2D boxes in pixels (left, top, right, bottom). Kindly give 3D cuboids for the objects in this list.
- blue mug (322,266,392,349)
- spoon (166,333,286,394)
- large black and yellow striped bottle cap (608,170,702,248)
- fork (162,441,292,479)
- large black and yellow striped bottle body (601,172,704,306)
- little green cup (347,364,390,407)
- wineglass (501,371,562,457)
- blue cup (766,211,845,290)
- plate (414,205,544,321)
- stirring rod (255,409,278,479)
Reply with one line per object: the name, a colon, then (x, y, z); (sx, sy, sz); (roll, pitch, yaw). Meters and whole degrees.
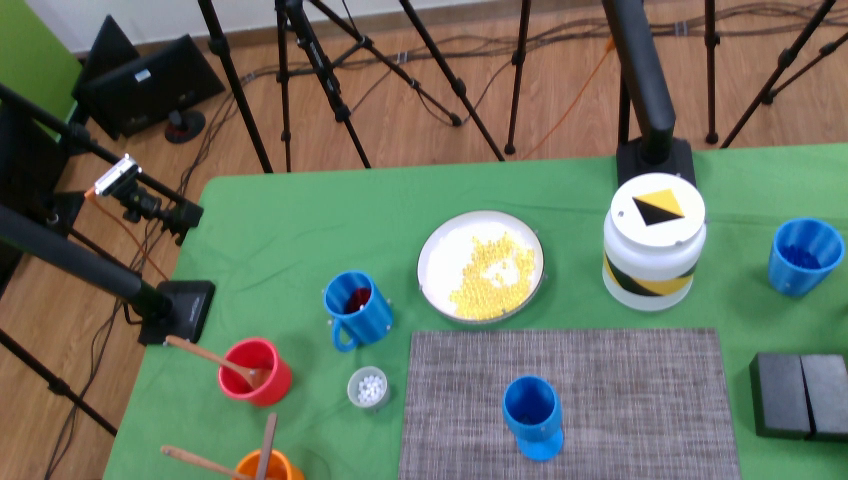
blue mug: (-0.111, 0.115, 0.950); (0.082, 0.107, 0.116); (16, 65, 23)
spoon: (-0.303, 0.186, 0.935); (0.195, 0.021, 0.041); (31, 66, -19)
large black and yellow striped bottle cap: (0.300, -0.042, 0.789); (0.115, 0.019, 0.114); (-6, 58, 10)
fork: (-0.263, 0.320, 0.841); (0.209, 0.018, 0.028); (29, 71, -20)
large black and yellow striped bottle body: (0.320, 0.000, 0.859); (0.130, 0.186, 0.129); (-7, 58, 11)
little green cup: (-0.082, 0.223, 0.918); (0.061, 0.039, 0.061); (-7, 59, 12)
wineglass: (0.140, 0.225, 0.773); (0.073, 0.174, 0.073); (-7, 58, 11)
blue cup: (0.520, 0.022, 0.843); (0.092, 0.101, 0.092); (-7, 59, 13)
plate: (0.089, 0.039, 0.984); (0.209, 0.038, 0.207); (-6, 59, 11)
stirring rod: (-0.222, 0.319, 0.827); (0.014, 0.006, 0.174); (-3, 59, 13)
